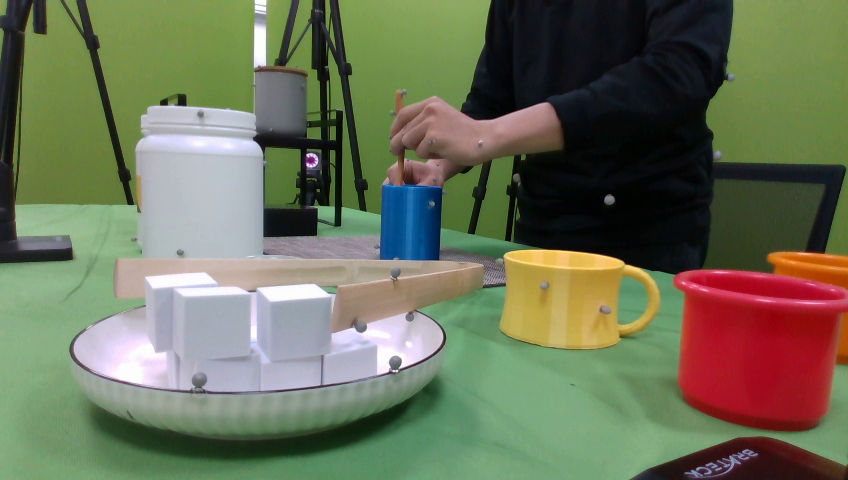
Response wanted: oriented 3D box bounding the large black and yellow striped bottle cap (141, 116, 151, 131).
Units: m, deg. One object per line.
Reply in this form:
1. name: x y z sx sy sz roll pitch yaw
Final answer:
1. large black and yellow striped bottle cap: -0.328 -0.158 0.837 0.115 0.019 0.115 2 6 0

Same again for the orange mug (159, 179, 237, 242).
1. orange mug: -0.368 -0.051 0.991 0.127 0.101 0.083 -10 14 -41

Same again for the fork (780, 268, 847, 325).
1. fork: 0.324 0.018 0.441 0.028 0.018 0.207 -3 -36 -5

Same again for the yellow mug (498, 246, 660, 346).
1. yellow mug: 0.130 0.045 0.508 0.131 0.064 0.100 4 7 6

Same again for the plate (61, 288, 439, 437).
1. plate: -0.095 0.069 0.362 0.208 0.039 0.207 3 7 0

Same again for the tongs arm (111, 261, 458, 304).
1. tongs arm: -0.080 0.032 0.527 0.028 0.027 0.389 -3 -3 33

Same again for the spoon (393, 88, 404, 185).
1. spoon: -0.035 -0.104 0.805 0.022 0.193 0.041 1 2 -40

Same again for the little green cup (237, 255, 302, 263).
1. little green cup: -0.150 0.038 0.589 0.061 0.038 0.061 3 6 0

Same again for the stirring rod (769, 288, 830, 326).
1. stirring rod: 0.349 0.022 0.468 0.014 0.006 0.175 -13 -26 -50

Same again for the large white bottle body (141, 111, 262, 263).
1. large white bottle body: -0.254 -0.053 0.697 0.131 0.184 0.130 2 7 0

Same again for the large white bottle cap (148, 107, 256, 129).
1. large white bottle cap: -0.250 -0.137 0.686 0.115 0.018 0.115 2 8 0

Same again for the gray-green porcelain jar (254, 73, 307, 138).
1. gray-green porcelain jar: -0.298 -0.277 1.259 0.106 0.126 0.106 3 8 0

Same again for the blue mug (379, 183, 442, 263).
1. blue mug: -0.019 -0.025 0.833 0.082 0.106 0.116 1 7 -4

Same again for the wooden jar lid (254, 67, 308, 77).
1. wooden jar lid: -0.296 -0.339 1.250 0.108 0.020 0.108 1 7 0

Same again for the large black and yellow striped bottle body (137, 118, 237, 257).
1. large black and yellow striped bottle body: -0.330 -0.075 0.849 0.131 0.184 0.130 2 8 0

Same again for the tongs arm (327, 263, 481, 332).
1. tongs arm: -0.003 0.036 0.493 0.050 0.026 0.386 1 0 19
